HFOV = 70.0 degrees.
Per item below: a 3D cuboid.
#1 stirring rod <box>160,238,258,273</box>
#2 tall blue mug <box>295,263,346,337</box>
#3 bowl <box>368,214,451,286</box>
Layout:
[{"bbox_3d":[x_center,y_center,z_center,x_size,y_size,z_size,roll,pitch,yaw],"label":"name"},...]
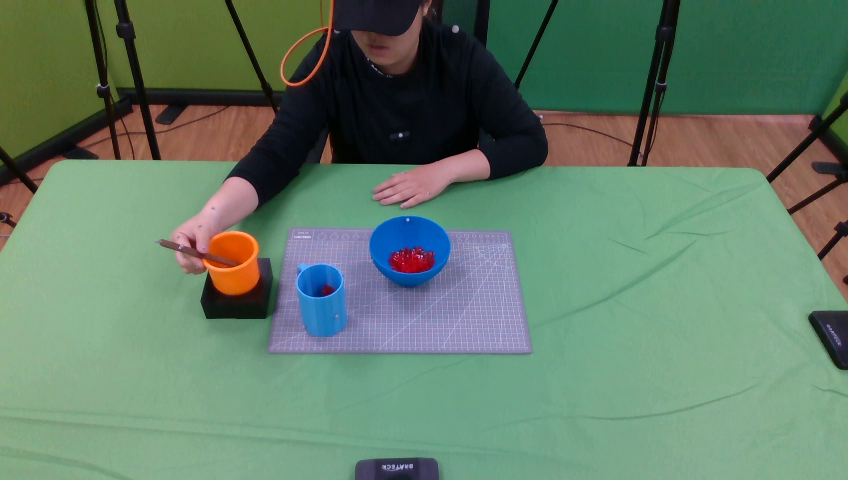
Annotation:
[{"bbox_3d":[-0.349,0.027,0.997,0.177,0.006,0.014,23,27,-44],"label":"stirring rod"},{"bbox_3d":[-0.187,0.096,1.027,0.107,0.108,0.077,21,49,16],"label":"tall blue mug"},{"bbox_3d":[-0.028,0.031,1.122,0.151,0.077,0.150,2,46,-2],"label":"bowl"}]
